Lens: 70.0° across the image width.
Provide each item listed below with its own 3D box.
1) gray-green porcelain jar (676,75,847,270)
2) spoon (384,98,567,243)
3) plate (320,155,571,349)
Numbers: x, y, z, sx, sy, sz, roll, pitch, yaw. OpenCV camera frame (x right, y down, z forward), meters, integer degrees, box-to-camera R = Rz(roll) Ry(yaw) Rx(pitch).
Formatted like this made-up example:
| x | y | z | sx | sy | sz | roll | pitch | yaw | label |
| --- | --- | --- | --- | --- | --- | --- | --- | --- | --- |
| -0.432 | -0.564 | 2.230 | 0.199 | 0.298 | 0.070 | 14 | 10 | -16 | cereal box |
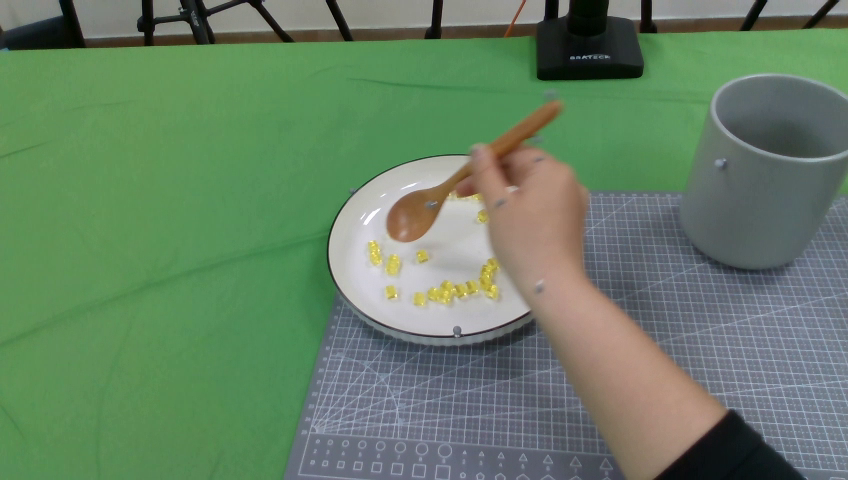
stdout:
| x | y | z | sx | sy | sz | roll | pitch | yaw | label |
| --- | --- | --- | --- | --- | --- | --- | --- | --- | --- |
| 0.263 | -0.047 | 0.479 | 0.106 | 0.128 | 0.105 | -3 | 48 | 4 | gray-green porcelain jar |
| 0.031 | -0.048 | 0.457 | 0.022 | 0.194 | 0.041 | 0 | 66 | -40 | spoon |
| 0.018 | 0.008 | 0.516 | 0.207 | 0.039 | 0.205 | -3 | 48 | 3 | plate |
